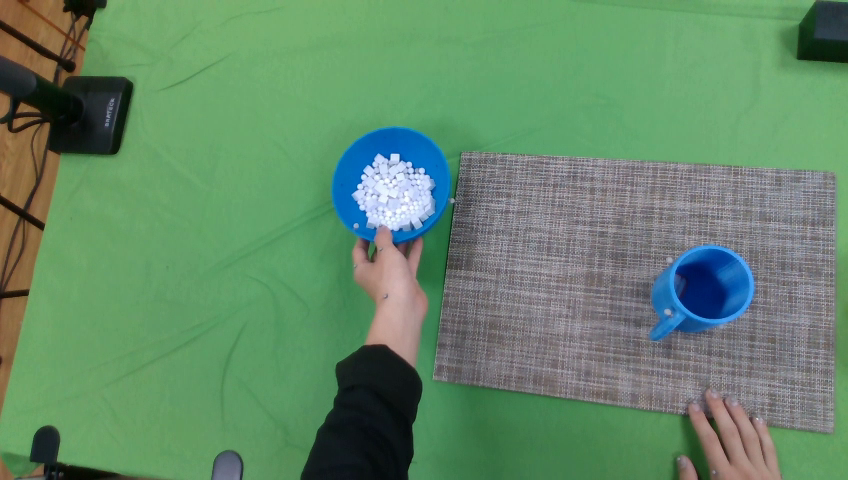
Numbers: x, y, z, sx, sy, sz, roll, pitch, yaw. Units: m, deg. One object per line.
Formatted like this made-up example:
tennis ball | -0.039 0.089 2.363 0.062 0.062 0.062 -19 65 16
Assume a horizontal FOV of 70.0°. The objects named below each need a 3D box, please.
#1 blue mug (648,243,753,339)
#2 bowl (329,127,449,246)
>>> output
blue mug | 0.290 0.066 0.667 0.116 0.106 0.082 -46 74 -1
bowl | -0.037 -0.059 0.772 0.151 0.077 0.150 -2 77 10
